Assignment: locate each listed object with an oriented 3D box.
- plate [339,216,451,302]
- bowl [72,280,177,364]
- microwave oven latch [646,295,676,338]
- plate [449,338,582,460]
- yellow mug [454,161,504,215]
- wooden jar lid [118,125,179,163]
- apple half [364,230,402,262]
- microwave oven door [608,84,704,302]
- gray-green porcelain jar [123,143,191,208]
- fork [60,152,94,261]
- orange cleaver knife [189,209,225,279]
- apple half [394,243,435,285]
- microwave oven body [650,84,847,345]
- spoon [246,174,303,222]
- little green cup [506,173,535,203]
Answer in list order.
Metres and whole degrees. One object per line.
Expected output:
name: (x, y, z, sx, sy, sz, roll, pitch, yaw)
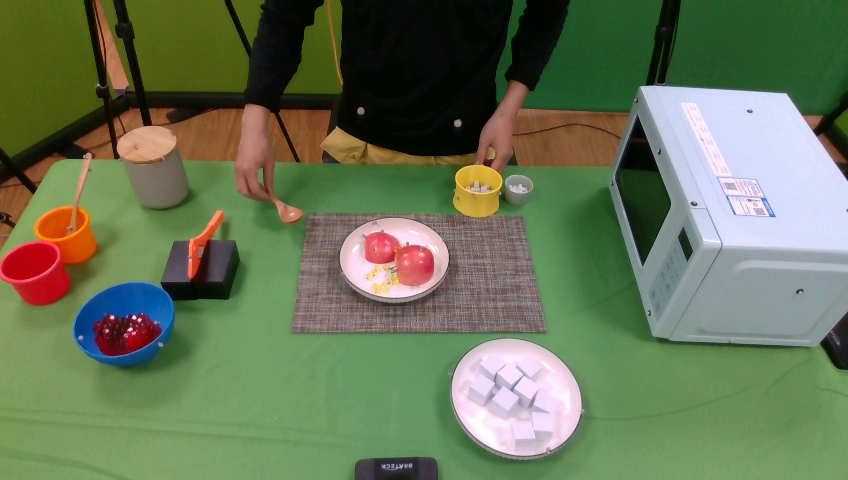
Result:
plate: (-0.054, 0.038, 1.138, 0.209, 0.038, 0.208, 2, 46, -2)
bowl: (-0.472, 0.147, 0.982, 0.151, 0.077, 0.150, 2, 46, -2)
microwave oven latch: (0.412, 0.133, 1.060, 0.030, 0.029, 0.078, 3, 46, 0)
plate: (0.141, 0.251, 0.956, 0.208, 0.039, 0.206, 2, 47, -2)
yellow mug: (0.118, -0.118, 1.283, 0.100, 0.064, 0.130, 8, 43, 6)
wooden jar lid: (-0.528, -0.181, 1.167, 0.108, 0.021, 0.107, 4, 48, -4)
apple half: (-0.079, 0.004, 1.159, 0.081, 0.033, 0.081, 3, 49, -3)
microwave oven door: (0.424, -0.096, 1.138, 0.039, 0.245, 0.353, 3, 46, -1)
gray-green porcelain jar: (-0.531, -0.137, 1.213, 0.106, 0.127, 0.105, 2, 46, -2)
fork: (-0.638, -0.063, 1.119, 0.028, 0.018, 0.207, 12, 90, 9)
orange cleaver knife: (-0.400, 0.002, 1.122, 0.012, 0.077, 0.210, 4, 23, -4)
apple half: (-0.016, 0.036, 1.120, 0.075, 0.053, 0.080, 1, 46, -6)
microwave oven body: (0.569, -0.054, 1.116, 0.326, 0.261, 0.439, 2, 46, -1)
spoon: (-0.303, -0.088, 1.211, 0.041, 0.022, 0.192, -38, 58, -21)
little green cup: (0.204, -0.110, 1.301, 0.061, 0.039, 0.061, 3, 44, -2)
